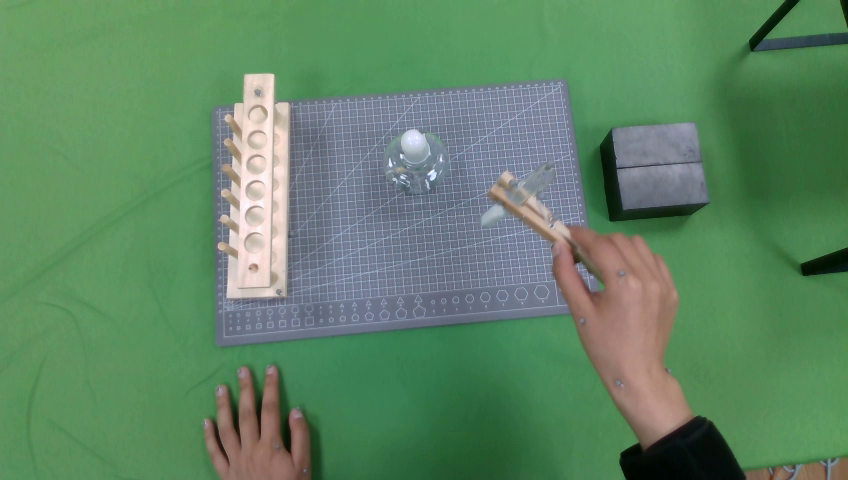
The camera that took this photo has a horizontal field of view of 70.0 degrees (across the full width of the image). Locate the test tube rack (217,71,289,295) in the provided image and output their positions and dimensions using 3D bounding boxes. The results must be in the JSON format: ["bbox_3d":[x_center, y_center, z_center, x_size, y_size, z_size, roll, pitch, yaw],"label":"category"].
[{"bbox_3d":[-0.199,-0.063,0.695,0.067,0.085,0.241,-1,78,-1],"label":"test tube rack"}]

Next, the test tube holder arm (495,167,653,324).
[{"bbox_3d":[0.127,0.005,0.508,0.178,0.015,0.013,44,76,-2],"label":"test tube holder arm"}]

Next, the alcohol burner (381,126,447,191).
[{"bbox_3d":[-0.012,-0.099,0.691,0.078,0.119,0.077,0,79,0],"label":"alcohol burner"}]

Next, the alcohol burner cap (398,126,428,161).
[{"bbox_3d":[-0.013,-0.107,0.656,0.034,0.048,0.034,0,83,1],"label":"alcohol burner cap"}]

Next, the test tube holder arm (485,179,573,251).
[{"bbox_3d":[0.089,-0.020,0.505,0.088,0.015,0.010,36,75,-4],"label":"test tube holder arm"}]

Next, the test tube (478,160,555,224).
[{"bbox_3d":[0.073,-0.036,0.511,0.017,0.150,0.017,2,78,-12],"label":"test tube"}]
